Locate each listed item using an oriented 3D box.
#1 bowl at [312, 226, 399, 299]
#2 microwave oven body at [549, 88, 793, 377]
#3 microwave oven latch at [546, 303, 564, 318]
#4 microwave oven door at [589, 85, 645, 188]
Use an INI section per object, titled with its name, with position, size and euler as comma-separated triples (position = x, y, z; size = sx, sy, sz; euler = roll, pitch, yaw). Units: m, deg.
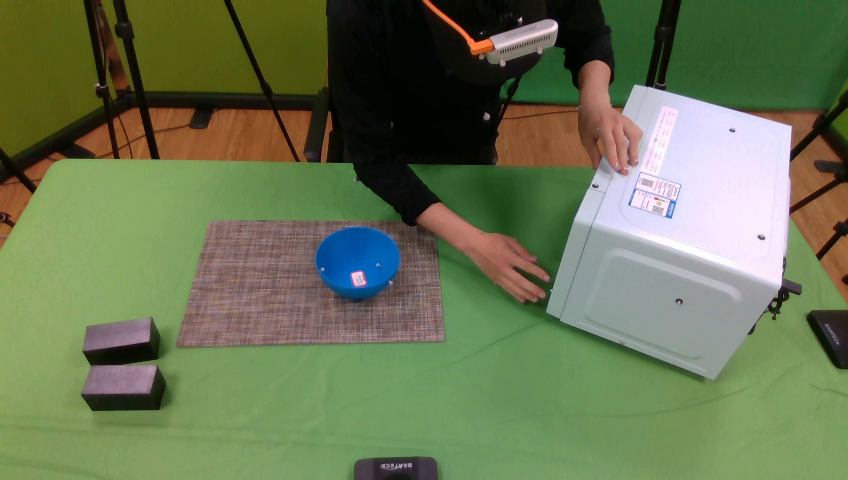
[bowl]
position = -0.120, 0.054, 1.091
size = 0.151, 0.077, 0.150
euler = 2, 46, -2
[microwave oven body]
position = 0.456, -0.028, 1.088
size = 0.325, 0.261, 0.440
euler = 20, 47, 16
[microwave oven latch]
position = 0.242, 0.102, 1.081
size = 0.030, 0.029, 0.079
euler = 21, 48, 17
[microwave oven door]
position = 0.342, -0.107, 1.149
size = 0.039, 0.245, 0.354
euler = 20, 48, 15
